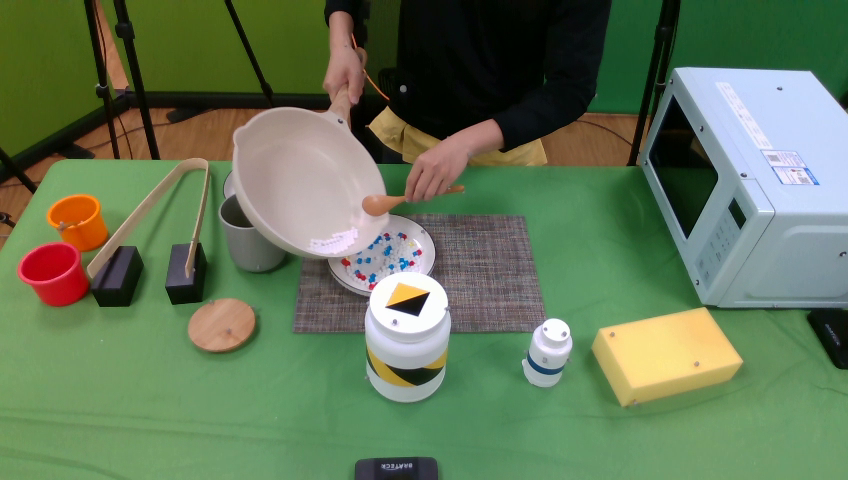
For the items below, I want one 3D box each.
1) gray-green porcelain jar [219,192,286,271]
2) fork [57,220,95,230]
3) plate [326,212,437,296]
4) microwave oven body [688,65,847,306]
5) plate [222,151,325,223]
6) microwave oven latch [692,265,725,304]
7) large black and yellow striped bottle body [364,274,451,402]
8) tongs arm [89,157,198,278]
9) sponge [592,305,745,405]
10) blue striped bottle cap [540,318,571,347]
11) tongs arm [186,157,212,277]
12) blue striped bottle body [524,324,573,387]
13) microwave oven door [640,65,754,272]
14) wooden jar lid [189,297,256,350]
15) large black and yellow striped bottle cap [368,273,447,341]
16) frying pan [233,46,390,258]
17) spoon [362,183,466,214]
[{"bbox_3d":[-0.310,-0.014,1.113,0.106,0.127,0.105,2,47,-2],"label":"gray-green porcelain jar"},{"bbox_3d":[-0.624,-0.027,1.086,0.028,0.207,0.018,-3,92,-17],"label":"fork"},{"bbox_3d":[-0.080,0.030,1.144,0.209,0.038,0.208,2,46,-2],"label":"plate"},{"bbox_3d":[0.669,-0.111,1.176,0.326,0.261,0.439,0,46,-3],"label":"microwave oven body"},{"bbox_3d":[-0.310,-0.106,1.263,0.208,0.039,0.206,2,47,-2],"label":"plate"},{"bbox_3d":[0.522,0.081,1.116,0.030,0.029,0.078,1,46,-2],"label":"microwave oven latch"},{"bbox_3d":[-0.026,0.151,0.937,0.131,0.185,0.130,2,47,-2],"label":"large black and yellow striped bottle body"},{"bbox_3d":[-0.529,-0.058,1.164,0.028,0.028,0.385,1,36,8],"label":"tongs arm"},{"bbox_3d":[0.405,0.190,1.014,0.207,0.061,0.117,-10,48,-13],"label":"sponge"},{"bbox_3d":[0.203,0.142,0.933,0.044,0.021,0.044,3,49,-4],"label":"blue striped bottle cap"},{"bbox_3d":[-0.445,-0.058,1.168,0.051,0.026,0.382,-5,37,-6],"label":"tongs arm"},{"bbox_3d":[0.200,0.178,0.970,0.063,0.121,0.062,2,46,-2],"label":"blue striped bottle body"},{"bbox_3d":[0.523,-0.147,1.193,0.039,0.245,0.353,0,47,-3],"label":"microwave oven door"},{"bbox_3d":[-0.342,0.145,1.033,0.108,0.021,0.107,2,45,-2],"label":"wooden jar lid"},{"bbox_3d":[-0.023,0.094,0.875,0.115,0.019,0.114,2,45,-2],"label":"large black and yellow striped bottle cap"},{"bbox_3d":[-0.177,-0.181,1.114,0.308,0.102,0.485,31,58,-25],"label":"frying pan"},{"bbox_3d":[-0.020,-0.082,1.109,0.194,0.042,0.021,-12,17,1],"label":"spoon"}]
